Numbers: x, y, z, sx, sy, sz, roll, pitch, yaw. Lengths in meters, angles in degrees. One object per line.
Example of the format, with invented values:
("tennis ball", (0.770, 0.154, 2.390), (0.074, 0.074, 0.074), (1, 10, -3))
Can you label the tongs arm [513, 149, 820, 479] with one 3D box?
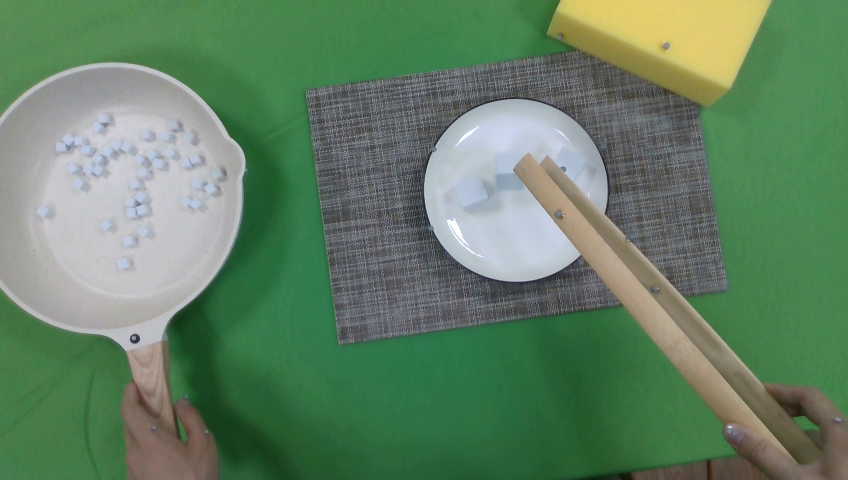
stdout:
("tongs arm", (0.201, 0.064, 0.518), (0.384, 0.028, 0.028), (53, 123, 20))

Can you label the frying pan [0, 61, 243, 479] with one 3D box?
("frying pan", (-0.312, 0.051, 0.653), (0.307, 0.103, 0.485), (-16, 78, 0))

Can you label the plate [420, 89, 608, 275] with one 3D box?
("plate", (0.099, -0.063, 0.685), (0.208, 0.039, 0.207), (0, 87, 1))

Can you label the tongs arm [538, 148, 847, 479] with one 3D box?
("tongs arm", (0.218, 0.061, 0.537), (0.382, 0.051, 0.026), (51, 125, 17))

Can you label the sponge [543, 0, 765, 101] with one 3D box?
("sponge", (0.257, -0.259, 0.685), (0.206, 0.061, 0.118), (25, 85, 3))
